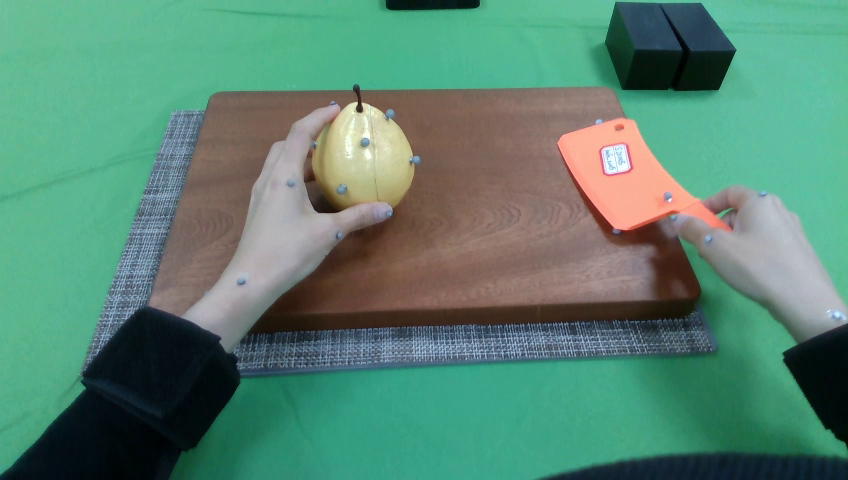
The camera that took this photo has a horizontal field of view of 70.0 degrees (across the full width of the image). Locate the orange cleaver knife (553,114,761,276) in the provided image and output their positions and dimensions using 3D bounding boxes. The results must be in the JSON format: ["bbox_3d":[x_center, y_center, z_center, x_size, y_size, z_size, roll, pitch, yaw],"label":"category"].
[{"bbox_3d":[0.176,-0.038,0.486,0.077,0.012,0.209,-28,47,1],"label":"orange cleaver knife"}]

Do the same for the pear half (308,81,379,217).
[{"bbox_3d":[-0.061,-0.071,0.458,0.056,0.111,0.075,-5,43,-5],"label":"pear half"}]

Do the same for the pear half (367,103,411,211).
[{"bbox_3d":[-0.026,-0.065,0.468,0.031,0.089,0.069,-5,43,-6],"label":"pear half"}]
